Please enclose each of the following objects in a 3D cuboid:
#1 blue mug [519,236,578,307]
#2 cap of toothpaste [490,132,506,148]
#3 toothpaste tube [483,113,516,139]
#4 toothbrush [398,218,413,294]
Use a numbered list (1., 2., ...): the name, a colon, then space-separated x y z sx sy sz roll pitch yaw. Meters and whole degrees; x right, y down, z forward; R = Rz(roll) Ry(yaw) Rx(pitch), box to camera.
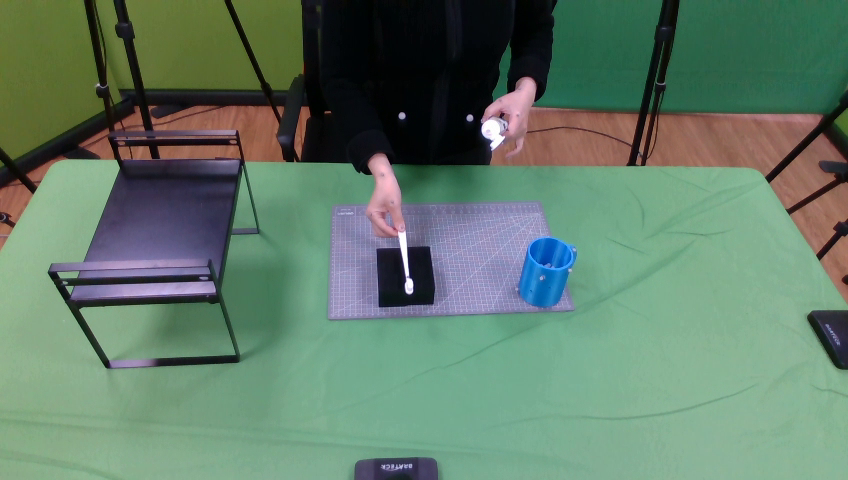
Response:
1. blue mug: 0.234 0.051 1.102 0.116 0.106 0.082 -23 52 -24
2. cap of toothpaste: 0.129 -0.178 1.071 0.011 0.037 0.037 45 50 -10
3. toothpaste tube: 0.141 -0.220 1.151 0.055 0.034 0.165 27 25 5
4. toothbrush: -0.034 0.023 1.084 0.014 0.017 0.180 -4 46 -5
